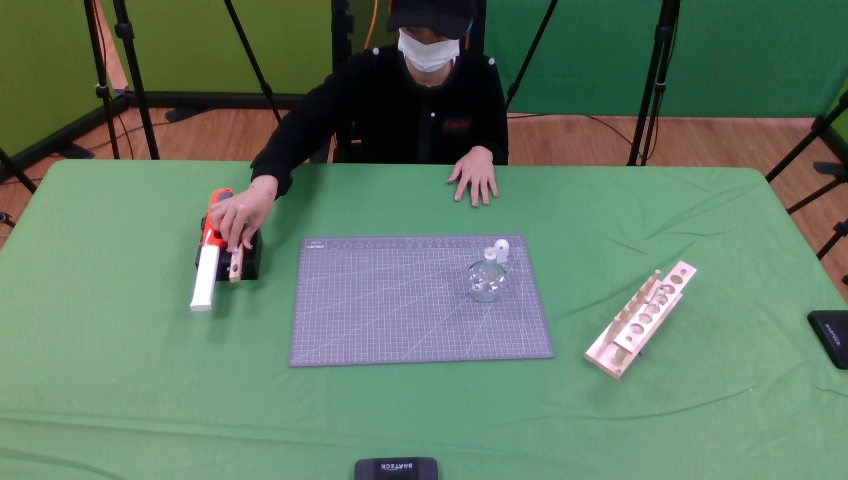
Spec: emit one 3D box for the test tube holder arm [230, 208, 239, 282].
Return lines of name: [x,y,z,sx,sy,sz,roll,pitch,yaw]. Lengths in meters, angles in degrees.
test tube holder arm: [-0.344,0.005,1.100,0.013,0.015,0.177,1,45,-18]

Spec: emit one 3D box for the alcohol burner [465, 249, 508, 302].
alcohol burner: [0.114,0.057,1.085,0.078,0.120,0.077,2,48,-2]

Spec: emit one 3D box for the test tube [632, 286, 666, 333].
test tube: [0.363,0.125,0.993,0.017,0.151,0.017,2,49,-2]

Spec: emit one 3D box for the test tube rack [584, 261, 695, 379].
test tube rack: [0.380,0.127,1.062,0.066,0.085,0.242,34,53,26]

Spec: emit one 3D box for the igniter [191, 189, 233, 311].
igniter: [-0.381,0.008,1.092,0.057,0.025,0.274,-2,50,-5]

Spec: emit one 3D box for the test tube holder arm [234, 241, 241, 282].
test tube holder arm: [-0.330,0.037,1.072,0.010,0.015,0.087,3,45,-17]

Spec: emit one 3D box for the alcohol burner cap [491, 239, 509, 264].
alcohol burner cap: [0.150,0.020,1.174,0.034,0.048,0.033,2,46,-2]
